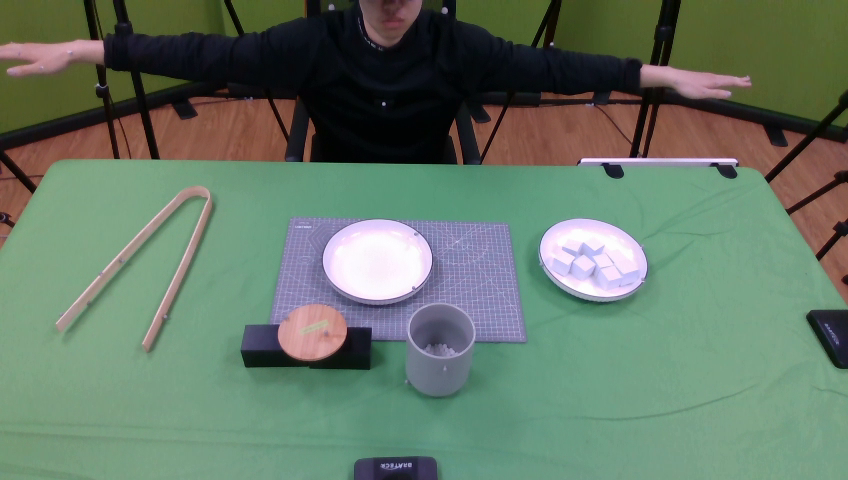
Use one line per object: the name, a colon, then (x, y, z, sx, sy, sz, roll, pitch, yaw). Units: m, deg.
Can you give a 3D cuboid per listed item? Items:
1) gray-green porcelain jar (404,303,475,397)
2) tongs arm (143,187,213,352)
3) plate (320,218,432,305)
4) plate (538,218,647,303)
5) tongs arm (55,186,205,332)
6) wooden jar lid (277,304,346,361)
gray-green porcelain jar: (0.022, 0.178, 0.956, 0.106, 0.127, 0.105, 2, 46, -2)
tongs arm: (-0.449, 0.039, 1.121, 0.028, 0.028, 0.385, 2, 46, 1)
plate: (-0.089, 0.044, 1.134, 0.209, 0.038, 0.208, 3, 46, -2)
plate: (0.322, 0.042, 1.171, 0.208, 0.039, 0.206, 2, 46, -2)
tongs arm: (-0.530, 0.022, 1.126, 0.051, 0.026, 0.383, 14, 46, 8)
wooden jar lid: (-0.179, 0.150, 0.972, 0.108, 0.021, 0.107, 2, 45, -2)
